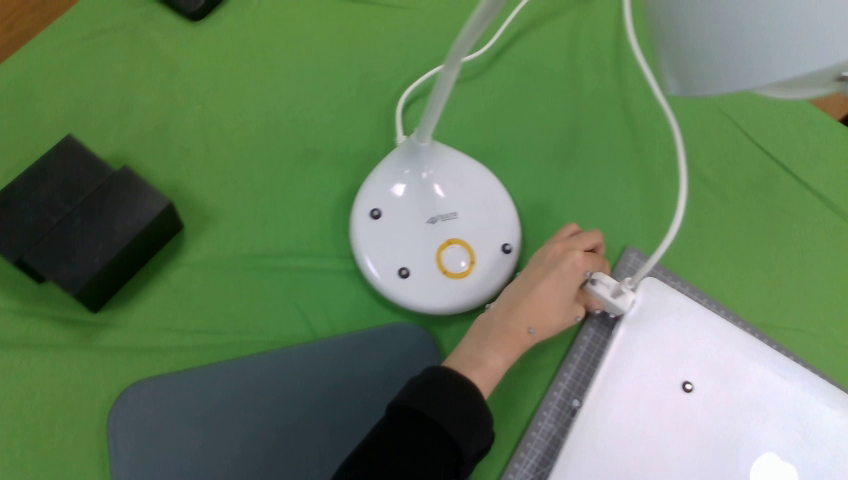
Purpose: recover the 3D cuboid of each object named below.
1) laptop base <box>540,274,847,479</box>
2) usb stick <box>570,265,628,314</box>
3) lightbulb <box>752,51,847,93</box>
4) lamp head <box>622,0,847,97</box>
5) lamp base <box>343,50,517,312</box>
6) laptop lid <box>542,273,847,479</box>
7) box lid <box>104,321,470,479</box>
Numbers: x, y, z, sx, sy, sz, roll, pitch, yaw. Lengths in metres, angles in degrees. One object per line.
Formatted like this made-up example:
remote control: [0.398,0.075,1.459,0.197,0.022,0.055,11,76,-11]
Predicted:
laptop base: [0.292,0.212,0.532,0.354,0.023,0.234,31,71,1]
usb stick: [0.165,0.050,0.553,0.059,0.027,0.021,35,65,-5]
lightbulb: [0.132,-0.105,0.203,0.060,0.059,0.108,-7,110,-13]
lamp head: [0.108,-0.125,0.205,0.112,0.112,0.123,-36,103,-21]
lamp base: [0.014,-0.049,0.486,0.161,0.181,0.178,-26,74,-19]
laptop lid: [0.293,0.209,0.521,0.356,0.013,0.241,32,70,2]
box lid: [-0.077,0.255,0.447,0.264,0.015,0.369,-11,74,-15]
